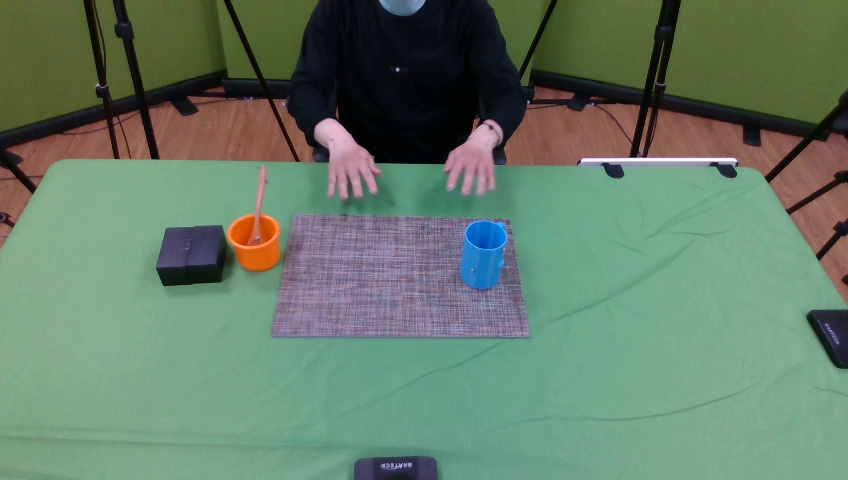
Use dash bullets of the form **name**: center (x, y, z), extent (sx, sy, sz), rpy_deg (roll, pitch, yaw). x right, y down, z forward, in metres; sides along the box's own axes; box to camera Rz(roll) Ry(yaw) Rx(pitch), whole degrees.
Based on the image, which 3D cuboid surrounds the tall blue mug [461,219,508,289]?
- **tall blue mug**: center (0.111, 0.016, 1.122), extent (0.078, 0.108, 0.106), rpy_deg (6, 46, 4)

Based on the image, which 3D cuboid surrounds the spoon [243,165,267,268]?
- **spoon**: center (-0.309, -0.044, 1.130), extent (0.041, 0.193, 0.021), rpy_deg (7, 2, 8)
